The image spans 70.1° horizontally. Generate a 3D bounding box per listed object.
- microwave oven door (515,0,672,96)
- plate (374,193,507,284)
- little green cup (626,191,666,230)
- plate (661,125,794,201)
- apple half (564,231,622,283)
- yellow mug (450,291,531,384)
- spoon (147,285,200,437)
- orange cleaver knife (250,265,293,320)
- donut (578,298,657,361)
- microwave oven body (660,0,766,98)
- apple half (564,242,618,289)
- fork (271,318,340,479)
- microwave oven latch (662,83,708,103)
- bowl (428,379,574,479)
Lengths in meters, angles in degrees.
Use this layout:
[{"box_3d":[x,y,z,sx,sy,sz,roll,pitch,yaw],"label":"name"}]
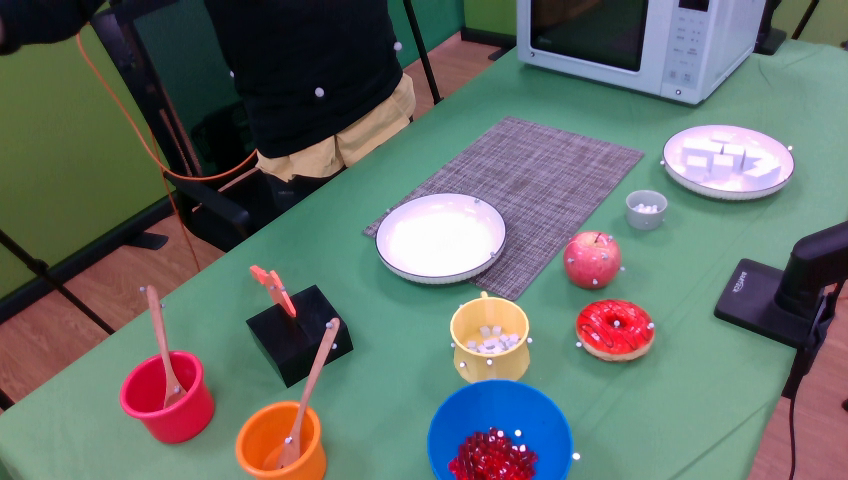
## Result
[{"box_3d":[0.343,-0.455,1.259,0.353,0.245,0.039,26,51,33],"label":"microwave oven door"},{"box_3d":[0.027,0.000,0.952,0.209,0.038,0.208,-4,40,4],"label":"plate"},{"box_3d":[0.352,-0.046,0.963,0.061,0.039,0.061,-4,40,4],"label":"little green cup"},{"box_3d":[0.513,-0.128,1.035,0.207,0.039,0.206,-4,40,4],"label":"plate"},{"box_3d":[0.248,0.021,0.874,0.080,0.075,0.053,13,40,28],"label":"apple half"},{"box_3d":[0.085,0.120,0.786,0.100,0.064,0.130,-7,39,1],"label":"yellow mug"},{"box_3d":[-0.318,0.148,0.754,0.042,0.021,0.193,-15,85,-10],"label":"spoon"},{"box_3d":[-0.222,0.073,0.876,0.012,0.077,0.210,-23,12,-22],"label":"orange cleaver knife"},{"box_3d":[0.250,0.115,0.786,0.099,0.048,0.098,-5,37,4],"label":"donut"},{"box_3d":[0.472,-0.513,1.317,0.438,0.261,0.327,26,51,34],"label":"microwave oven body"},{"box_3d":[0.229,0.044,0.848,0.081,0.081,0.033,16,41,26],"label":"apple half"},{"box_3d":[-0.132,0.186,0.676,0.028,0.019,0.207,18,90,28],"label":"fork"},{"box_3d":[0.518,-0.296,1.204,0.078,0.029,0.030,28,52,35],"label":"microwave oven latch"},{"box_3d":[0.082,0.233,0.644,0.151,0.077,0.150,-4,39,4],"label":"bowl"}]
